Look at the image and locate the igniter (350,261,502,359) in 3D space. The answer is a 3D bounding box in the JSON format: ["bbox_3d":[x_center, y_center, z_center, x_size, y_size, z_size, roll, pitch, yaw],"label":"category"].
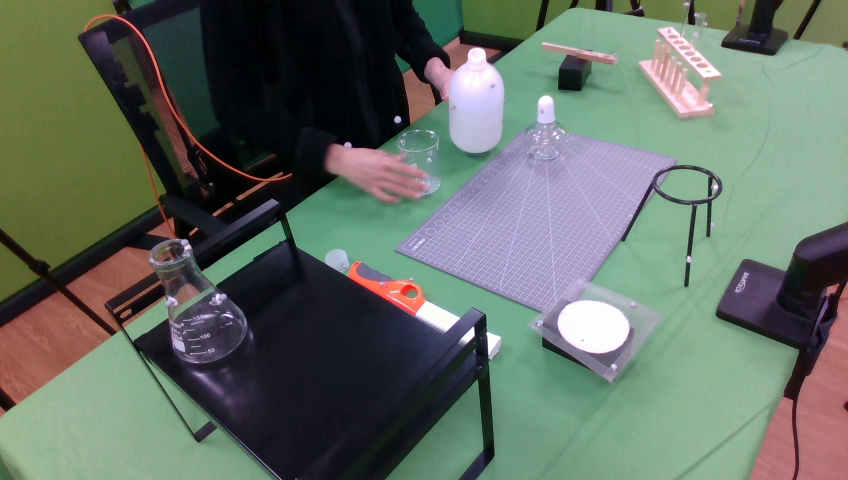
[{"bbox_3d":[-0.009,0.094,0.870,0.274,0.025,0.057,25,61,33],"label":"igniter"}]

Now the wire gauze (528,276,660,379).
[{"bbox_3d":[0.214,0.103,0.763,0.124,0.011,0.122,30,52,35],"label":"wire gauze"}]

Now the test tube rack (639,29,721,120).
[{"bbox_3d":[0.527,-0.351,1.262,0.067,0.085,0.241,-8,40,1],"label":"test tube rack"}]

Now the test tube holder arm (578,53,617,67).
[{"bbox_3d":[0.376,-0.393,1.314,0.087,0.015,0.010,26,51,32],"label":"test tube holder arm"}]

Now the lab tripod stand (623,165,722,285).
[{"bbox_3d":[0.365,-0.030,0.874,0.148,0.132,0.147,-6,41,6],"label":"lab tripod stand"}]

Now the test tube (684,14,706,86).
[{"bbox_3d":[0.541,-0.378,1.215,0.017,0.151,0.017,-2,44,3],"label":"test tube"}]

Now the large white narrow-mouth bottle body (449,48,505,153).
[{"bbox_3d":[0.096,-0.259,1.101,0.102,0.195,0.101,-1,52,1],"label":"large white narrow-mouth bottle body"}]

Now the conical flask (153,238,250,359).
[{"bbox_3d":[-0.225,0.055,0.597,0.075,0.122,0.075,-5,41,4],"label":"conical flask"}]

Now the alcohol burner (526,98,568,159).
[{"bbox_3d":[0.228,-0.210,1.118,0.078,0.119,0.077,-5,43,5],"label":"alcohol burner"}]

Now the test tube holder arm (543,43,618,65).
[{"bbox_3d":[0.345,-0.413,1.340,0.177,0.015,0.013,25,50,31],"label":"test tube holder arm"}]

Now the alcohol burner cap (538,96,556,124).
[{"bbox_3d":[0.222,-0.237,1.095,0.034,0.048,0.033,-7,35,5],"label":"alcohol burner cap"}]

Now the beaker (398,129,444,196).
[{"bbox_3d":[-0.002,-0.139,1.087,0.073,0.101,0.084,28,52,35],"label":"beaker"}]

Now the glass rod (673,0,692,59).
[{"bbox_3d":[0.537,-0.437,1.257,0.008,0.200,0.008,0,39,1],"label":"glass rod"}]

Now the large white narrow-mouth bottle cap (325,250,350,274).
[{"bbox_3d":[-0.138,0.035,0.966,0.038,0.024,0.037,-4,41,4],"label":"large white narrow-mouth bottle cap"}]
